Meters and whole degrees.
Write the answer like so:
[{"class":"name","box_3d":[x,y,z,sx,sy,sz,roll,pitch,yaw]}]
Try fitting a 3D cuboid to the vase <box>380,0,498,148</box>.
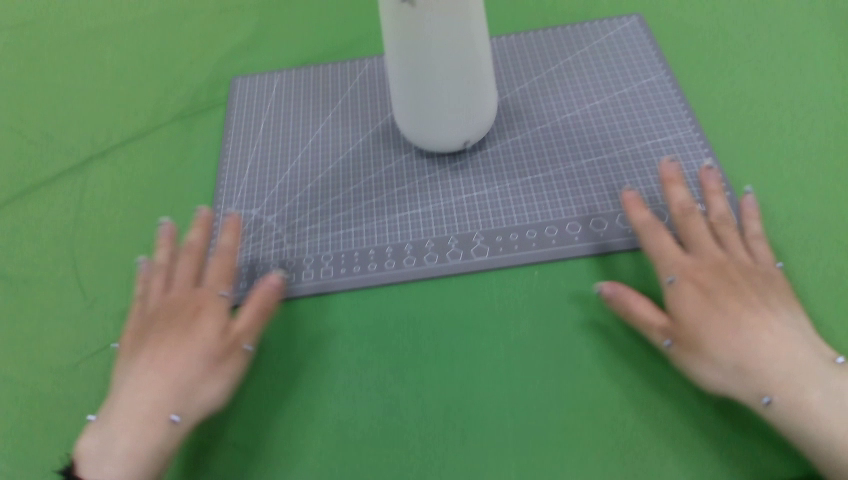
[{"class":"vase","box_3d":[0.010,-0.172,0.504,0.098,0.202,0.097,-4,53,6]}]
